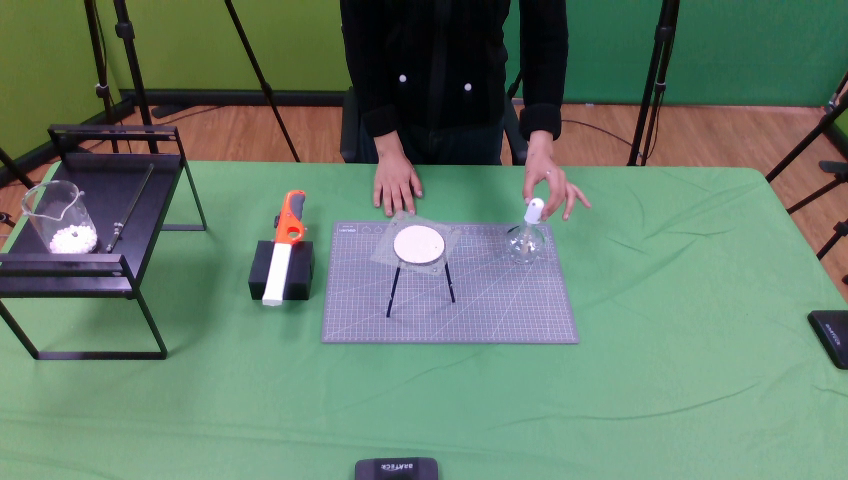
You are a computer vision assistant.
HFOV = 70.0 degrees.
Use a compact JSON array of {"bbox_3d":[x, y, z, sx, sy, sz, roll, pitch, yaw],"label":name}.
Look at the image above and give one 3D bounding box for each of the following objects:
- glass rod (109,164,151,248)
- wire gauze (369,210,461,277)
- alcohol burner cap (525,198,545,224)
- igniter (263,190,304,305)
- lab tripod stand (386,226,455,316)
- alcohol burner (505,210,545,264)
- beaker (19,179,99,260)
[{"bbox_3d":[-0.473,-0.061,0.979,0.008,0.008,0.198,2,46,-3],"label":"glass rod"},{"bbox_3d":[-0.013,0.005,1.017,0.121,0.011,0.124,17,49,12],"label":"wire gauze"},{"bbox_3d":[0.207,-0.056,1.117,0.034,0.048,0.033,4,41,-4],"label":"alcohol burner cap"},{"bbox_3d":[-0.255,0.004,1.107,0.057,0.025,0.274,6,47,-7],"label":"igniter"},{"bbox_3d":[-0.013,0.054,1.064,0.148,0.132,0.147,2,48,-2],"label":"lab tripod stand"},{"bbox_3d":[0.195,-0.012,1.158,0.078,0.120,0.077,1,45,-1],"label":"alcohol burner"},{"bbox_3d":[-0.522,-0.024,0.878,0.074,0.101,0.083,-26,54,-25],"label":"beaker"}]
